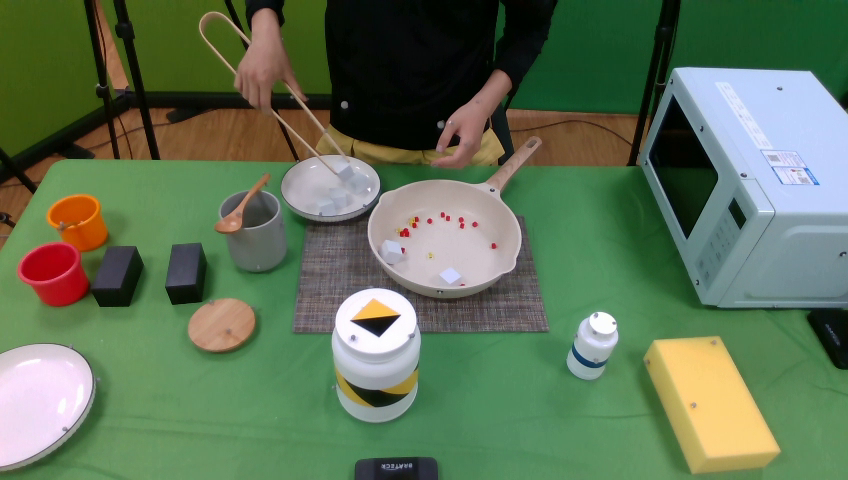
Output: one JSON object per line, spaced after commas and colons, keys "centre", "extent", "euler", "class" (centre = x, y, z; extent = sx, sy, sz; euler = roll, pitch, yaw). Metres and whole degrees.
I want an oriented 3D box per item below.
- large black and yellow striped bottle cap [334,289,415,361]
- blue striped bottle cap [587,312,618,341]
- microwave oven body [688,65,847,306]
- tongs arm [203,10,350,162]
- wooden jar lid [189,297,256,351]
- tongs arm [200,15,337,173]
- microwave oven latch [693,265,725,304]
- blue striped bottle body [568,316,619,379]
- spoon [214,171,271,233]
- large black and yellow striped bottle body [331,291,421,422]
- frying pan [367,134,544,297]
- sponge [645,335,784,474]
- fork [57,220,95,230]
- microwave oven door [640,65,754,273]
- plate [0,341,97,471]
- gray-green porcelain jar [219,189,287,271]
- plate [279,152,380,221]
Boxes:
{"centre": [-0.069, 0.117, 0.850], "extent": [0.115, 0.019, 0.114], "euler": [2, 45, -2], "class": "large black and yellow striped bottle cap"}
{"centre": [0.279, 0.134, 0.947], "extent": [0.044, 0.021, 0.044], "euler": [2, 45, -2], "class": "blue striped bottle cap"}
{"centre": [0.669, -0.111, 1.176], "extent": [0.326, 0.261, 0.439], "euler": [0, 46, -3], "class": "microwave oven body"}
{"centre": [-0.282, -0.292, 1.169], "extent": [0.051, 0.026, 0.385], "euler": [-38, 93, -2], "class": "tongs arm"}
{"centre": [-0.342, 0.145, 1.033], "extent": [0.108, 0.021, 0.107], "euler": [2, 45, -2], "class": "wooden jar lid"}
{"centre": [-0.300, -0.276, 1.168], "extent": [0.028, 0.028, 0.387], "euler": [-42, 93, 1], "class": "tongs arm"}
{"centre": [0.523, 0.081, 1.116], "extent": [0.030, 0.029, 0.078], "euler": [2, 46, -1], "class": "microwave oven latch"}
{"centre": [0.276, 0.168, 0.984], "extent": [0.063, 0.121, 0.062], "euler": [2, 46, -2], "class": "blue striped bottle body"}
{"centre": [-0.312, -0.070, 1.070], "extent": [0.041, 0.022, 0.193], "euler": [10, 43, 9], "class": "spoon"}
{"centre": [-0.071, 0.175, 0.911], "extent": [0.131, 0.185, 0.130], "euler": [2, 47, -2], "class": "large black and yellow striped bottle body"}
{"centre": [0.104, -0.069, 1.205], "extent": [0.305, 0.103, 0.487], "euler": [32, 61, 23], "class": "frying pan"}
{"centre": [0.449, 0.253, 0.956], "extent": [0.118, 0.061, 0.205], "euler": [-4, 46, -7], "class": "sponge"}
{"centre": [-0.624, -0.027, 1.086], "extent": [0.028, 0.207, 0.018], "euler": [-3, 92, -17], "class": "fork"}
{"centre": [0.523, -0.147, 1.193], "extent": [0.039, 0.245, 0.353], "euler": [0, 47, -3], "class": "microwave oven door"}
{"centre": [-0.599, 0.247, 0.904], "extent": [0.209, 0.038, 0.208], "euler": [2, 47, -2], "class": "plate"}
{"centre": [-0.309, -0.014, 1.113], "extent": [0.106, 0.127, 0.105], "euler": [2, 46, -2], "class": "gray-green porcelain jar"}
{"centre": [-0.196, -0.107, 1.269], "extent": [0.208, 0.039, 0.206], "euler": [2, 45, -2], "class": "plate"}
